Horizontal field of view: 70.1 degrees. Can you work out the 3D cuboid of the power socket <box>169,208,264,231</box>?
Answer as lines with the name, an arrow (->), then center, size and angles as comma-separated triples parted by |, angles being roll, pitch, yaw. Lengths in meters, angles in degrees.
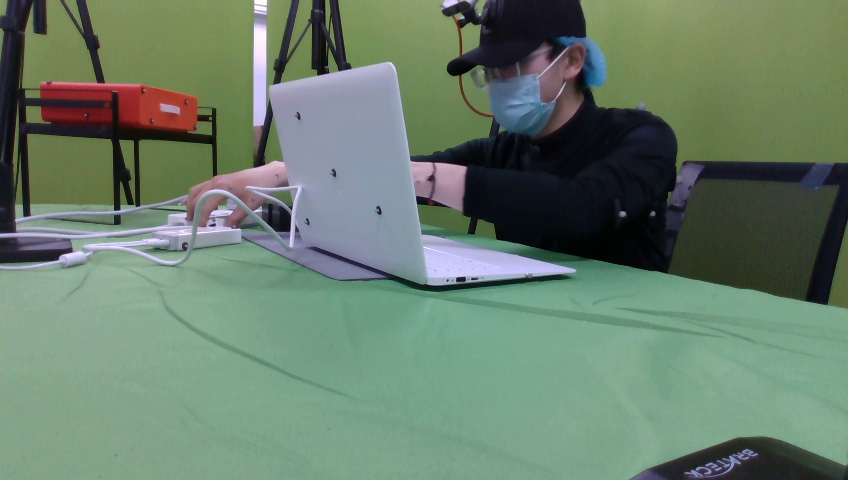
power socket -> -0.381, -0.038, 1.128 | 0.072, 0.032, 0.227 | 4, 8, 16

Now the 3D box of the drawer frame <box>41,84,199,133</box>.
drawer frame -> -0.604, -0.264, 1.225 | 0.213, 0.082, 0.202 | 3, 8, 8

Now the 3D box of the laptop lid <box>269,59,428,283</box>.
laptop lid -> -0.110, -0.087, 0.752 | 0.013, 0.241, 0.355 | -18, 19, -30

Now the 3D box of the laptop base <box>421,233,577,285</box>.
laptop base -> 0.007, 0.022, 0.850 | 0.237, 0.023, 0.352 | 1, 7, -34

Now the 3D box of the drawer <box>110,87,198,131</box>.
drawer -> -0.602, -0.263, 1.225 | 0.211, 0.073, 0.195 | 3, 8, 10

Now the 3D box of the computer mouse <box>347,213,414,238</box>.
computer mouse -> -0.079, -0.025, 1.080 | 0.117, 0.041, 0.062 | -5, 12, -18

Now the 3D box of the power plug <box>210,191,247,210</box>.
power plug -> -0.386, -0.071, 1.203 | 0.072, 0.052, 0.035 | 8, 11, 25

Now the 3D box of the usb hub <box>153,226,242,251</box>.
usb hub -> -0.337, -0.003, 0.907 | 0.049, 0.025, 0.125 | 6, 9, 29

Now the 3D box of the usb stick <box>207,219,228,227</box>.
usb stick -> -0.342, -0.020, 1.011 | 0.021, 0.027, 0.059 | -29, 2, -5
